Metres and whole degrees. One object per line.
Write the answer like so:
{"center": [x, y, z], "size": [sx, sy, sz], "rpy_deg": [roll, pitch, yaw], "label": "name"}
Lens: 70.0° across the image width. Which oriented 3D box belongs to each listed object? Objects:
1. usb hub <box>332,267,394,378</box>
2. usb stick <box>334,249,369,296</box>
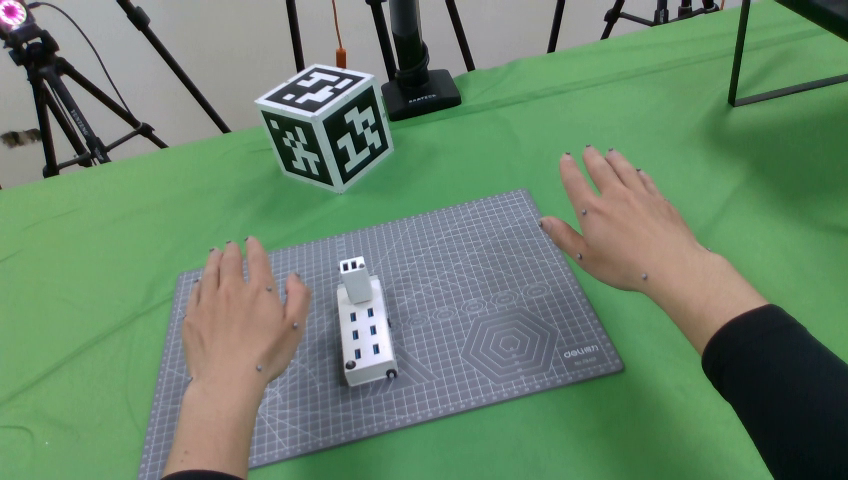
{"center": [-0.065, 0.081, 0.620], "size": [0.049, 0.025, 0.123], "rpy_deg": [-15, 40, -1], "label": "usb hub"}
{"center": [-0.073, 0.039, 0.625], "size": [0.027, 0.060, 0.021], "rpy_deg": [-17, 42, -3], "label": "usb stick"}
